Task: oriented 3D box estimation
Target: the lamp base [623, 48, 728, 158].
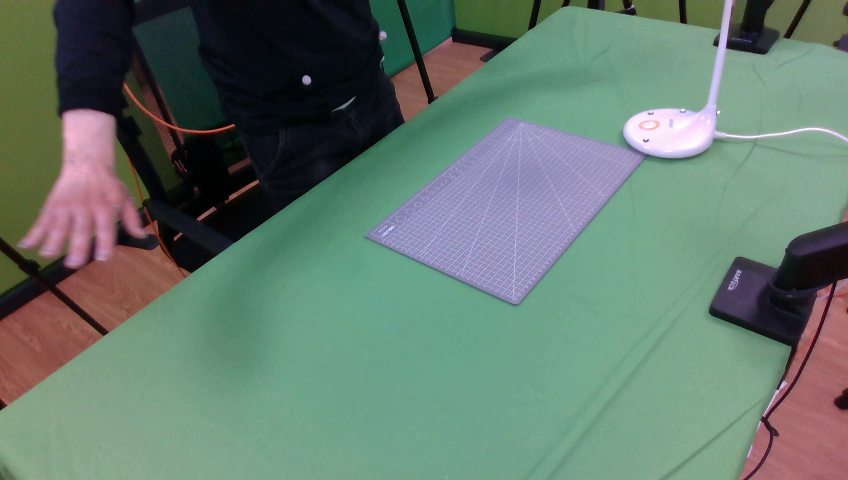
[{"bbox_3d":[0.462,-0.261,1.084,0.179,0.181,0.160,3,42,7],"label":"lamp base"}]
